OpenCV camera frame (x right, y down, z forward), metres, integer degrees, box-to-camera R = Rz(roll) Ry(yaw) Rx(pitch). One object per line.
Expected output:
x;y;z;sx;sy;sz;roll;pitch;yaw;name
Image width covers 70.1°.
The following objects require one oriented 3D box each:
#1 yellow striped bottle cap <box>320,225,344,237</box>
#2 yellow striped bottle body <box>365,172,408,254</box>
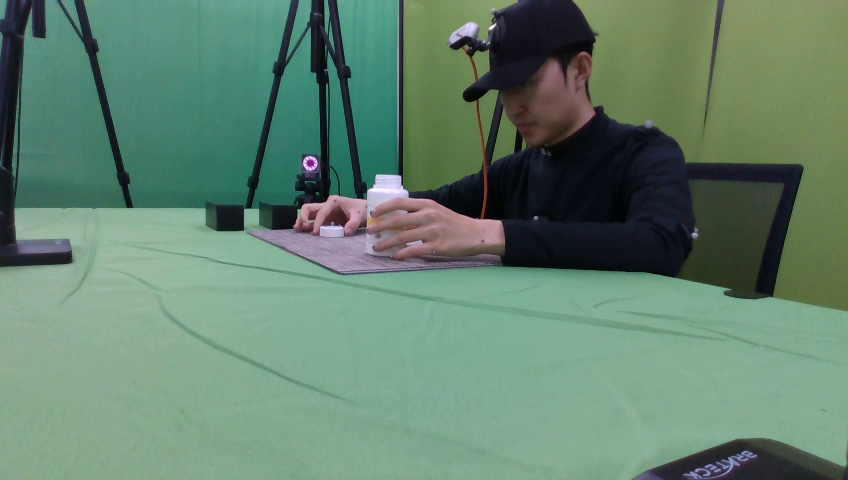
-0.169;-0.017;1.107;0.044;0.018;0.044;-1;5;0;yellow striped bottle cap
-0.056;-0.041;0.903;0.063;0.120;0.063;0;6;0;yellow striped bottle body
